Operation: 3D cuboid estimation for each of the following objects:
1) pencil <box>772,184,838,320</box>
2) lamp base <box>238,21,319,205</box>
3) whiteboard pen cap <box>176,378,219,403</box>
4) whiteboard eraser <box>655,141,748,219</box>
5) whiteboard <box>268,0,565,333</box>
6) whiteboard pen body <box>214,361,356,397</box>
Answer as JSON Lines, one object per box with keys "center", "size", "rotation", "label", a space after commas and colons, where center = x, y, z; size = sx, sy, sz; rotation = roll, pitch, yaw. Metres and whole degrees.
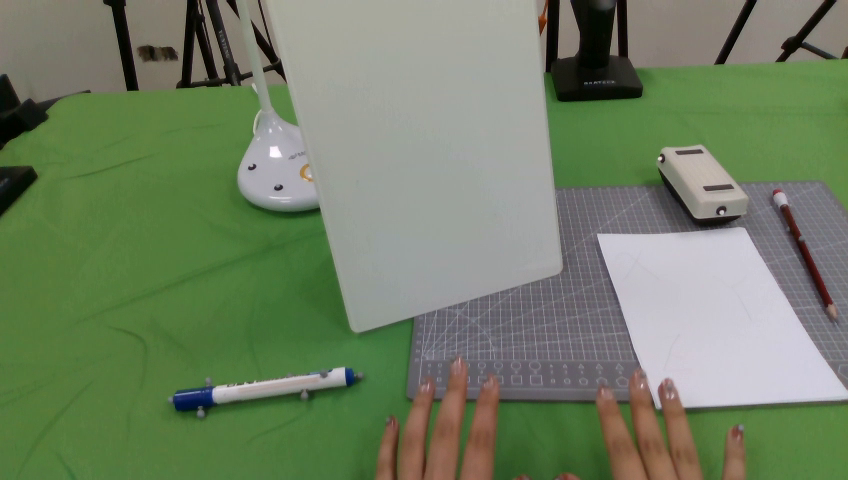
{"center": [0.374, 0.005, 0.596], "size": [0.012, 0.012, 0.192], "rotation": [2, 42, 10], "label": "pencil"}
{"center": [-0.167, -0.158, 0.719], "size": [0.160, 0.182, 0.177], "rotation": [-35, 46, -30], "label": "lamp base"}
{"center": [-0.189, 0.126, 0.509], "size": [0.033, 0.018, 0.018], "rotation": [-8, 40, -2], "label": "whiteboard pen cap"}
{"center": [0.300, -0.066, 0.662], "size": [0.055, 0.042, 0.111], "rotation": [-7, 40, -1], "label": "whiteboard eraser"}
{"center": [-0.006, -0.102, 0.583], "size": [0.217, 0.307, 0.142], "rotation": [-15, 22, -10], "label": "whiteboard"}
{"center": [-0.128, 0.119, 0.513], "size": [0.141, 0.017, 0.017], "rotation": [-7, 40, -2], "label": "whiteboard pen body"}
